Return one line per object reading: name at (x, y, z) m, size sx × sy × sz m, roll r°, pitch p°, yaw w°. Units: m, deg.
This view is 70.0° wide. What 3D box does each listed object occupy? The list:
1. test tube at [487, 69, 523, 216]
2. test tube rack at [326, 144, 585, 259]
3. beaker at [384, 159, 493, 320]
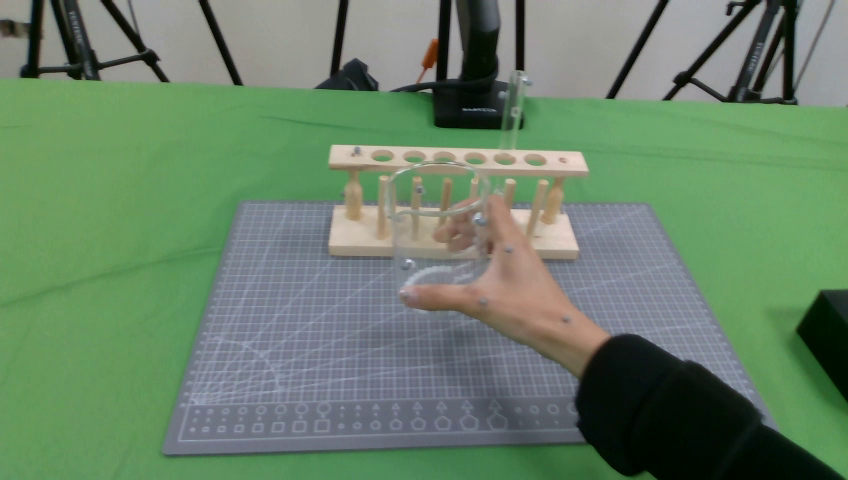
test tube at (0.075, -0.087, 0.574) m, size 0.017 × 0.151 × 0.017 m, roll 3°, pitch 36°, yaw -2°
test tube rack at (0.028, -0.036, 0.587) m, size 0.243 × 0.086 × 0.066 m, roll 1°, pitch 40°, yaw -4°
beaker at (0.010, 0.003, 0.444) m, size 0.084 × 0.101 × 0.073 m, roll -28°, pitch 42°, yaw -31°
